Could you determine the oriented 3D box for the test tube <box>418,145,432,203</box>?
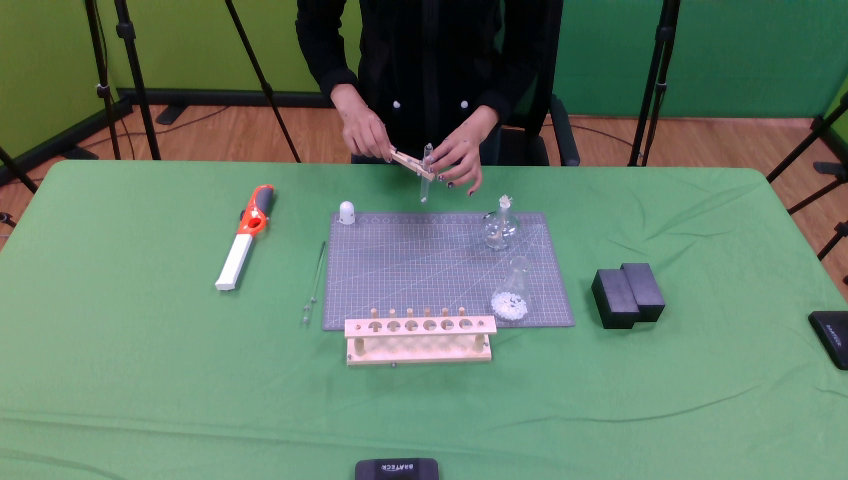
[{"bbox_3d":[0.001,-0.121,1.140,0.017,0.151,0.017,3,53,-4],"label":"test tube"}]

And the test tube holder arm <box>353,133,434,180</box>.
[{"bbox_3d":[-0.058,-0.158,1.142,0.178,0.015,0.013,28,50,13],"label":"test tube holder arm"}]

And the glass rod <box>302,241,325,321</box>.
[{"bbox_3d":[-0.204,0.072,1.124,0.008,0.008,0.198,4,43,1],"label":"glass rod"}]

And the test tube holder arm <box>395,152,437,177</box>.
[{"bbox_3d":[-0.016,-0.142,1.137,0.088,0.015,0.010,23,49,8],"label":"test tube holder arm"}]

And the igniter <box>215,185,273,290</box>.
[{"bbox_3d":[-0.348,-0.014,1.182,0.057,0.025,0.275,-1,45,8],"label":"igniter"}]

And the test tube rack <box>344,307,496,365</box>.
[{"bbox_3d":[-0.009,0.154,1.007,0.242,0.085,0.066,-1,46,-5],"label":"test tube rack"}]

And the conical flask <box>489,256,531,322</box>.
[{"bbox_3d":[0.158,0.081,1.061,0.075,0.122,0.075,2,46,-2],"label":"conical flask"}]

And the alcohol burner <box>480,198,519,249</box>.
[{"bbox_3d":[0.150,-0.039,1.182,0.078,0.119,0.077,4,47,-4],"label":"alcohol burner"}]

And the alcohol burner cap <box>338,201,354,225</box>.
[{"bbox_3d":[-0.159,-0.056,1.224,0.034,0.048,0.033,2,47,-2],"label":"alcohol burner cap"}]
